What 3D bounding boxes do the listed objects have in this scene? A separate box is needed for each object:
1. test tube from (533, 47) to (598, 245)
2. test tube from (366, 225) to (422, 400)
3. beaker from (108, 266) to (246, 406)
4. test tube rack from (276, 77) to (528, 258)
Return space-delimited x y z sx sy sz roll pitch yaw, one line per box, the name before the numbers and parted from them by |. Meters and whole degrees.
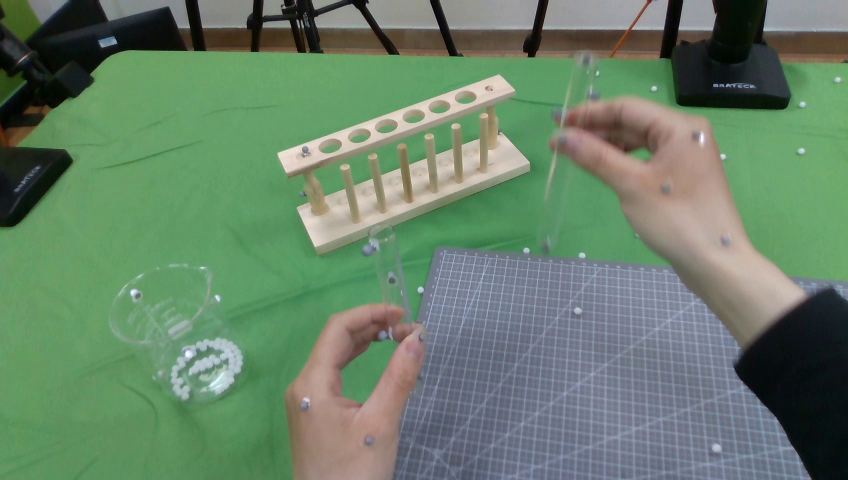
test tube | 0.093 -0.056 0.413 0.017 0.151 0.017 2 40 -2
test tube | -0.017 0.053 0.381 0.017 0.152 0.017 -5 40 4
beaker | -0.189 0.079 0.486 0.073 0.101 0.084 27 56 28
test tube rack | -0.015 -0.076 0.613 0.242 0.086 0.066 -22 49 -13
